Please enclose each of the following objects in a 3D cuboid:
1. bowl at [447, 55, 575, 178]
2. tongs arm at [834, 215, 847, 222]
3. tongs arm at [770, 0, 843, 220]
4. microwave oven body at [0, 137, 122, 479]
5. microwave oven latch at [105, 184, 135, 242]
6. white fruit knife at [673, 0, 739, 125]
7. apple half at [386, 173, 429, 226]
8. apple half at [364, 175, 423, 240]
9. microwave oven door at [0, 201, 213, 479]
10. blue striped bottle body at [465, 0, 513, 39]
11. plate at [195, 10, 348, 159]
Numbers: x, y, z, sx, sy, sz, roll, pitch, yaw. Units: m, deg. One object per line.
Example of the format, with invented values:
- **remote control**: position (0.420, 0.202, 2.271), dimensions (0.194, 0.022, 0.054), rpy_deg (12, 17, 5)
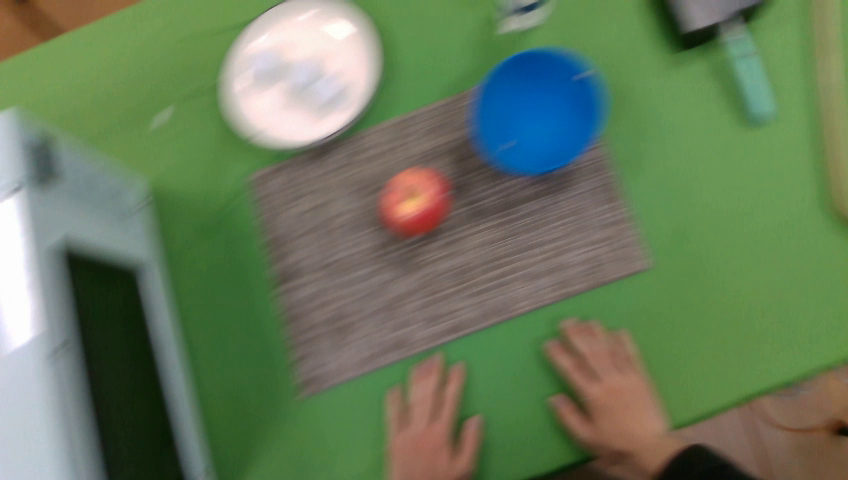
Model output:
- **bowl**: position (0.106, -0.140, 0.744), dimensions (0.151, 0.077, 0.150), rpy_deg (-1, 80, 7)
- **tongs arm**: position (0.539, -0.209, 0.733), dimensions (0.050, 0.026, 0.383), rpy_deg (8, 82, 9)
- **tongs arm**: position (0.459, -0.212, 0.747), dimensions (0.028, 0.028, 0.386), rpy_deg (-5, 79, 4)
- **microwave oven body**: position (-0.487, 0.167, 0.663), dimensions (0.326, 0.261, 0.439), rpy_deg (-23, 78, 1)
- **microwave oven latch**: position (-0.405, -0.031, 0.789), dimensions (0.030, 0.029, 0.079), rpy_deg (-23, 79, 1)
- **white fruit knife**: position (0.338, -0.239, 0.745), dimensions (0.016, 0.027, 0.207), rpy_deg (-25, 88, 0)
- **apple half**: position (-0.013, -0.054, 0.744), dimensions (0.033, 0.081, 0.081), rpy_deg (-37, 77, 2)
- **apple half**: position (-0.044, -0.032, 0.745), dimensions (0.053, 0.075, 0.080), rpy_deg (-37, 80, 4)
- **microwave oven door**: position (-0.337, 0.146, 0.645), dimensions (0.039, 0.245, 0.354), rpy_deg (-24, 78, 2)
- **blue striped bottle body**: position (0.081, -0.311, 0.760), dimensions (0.063, 0.121, 0.063), rpy_deg (-1, 79, 6)
- **plate**: position (-0.202, -0.205, 0.817), dimensions (0.207, 0.039, 0.207), rpy_deg (-1, 80, 6)
